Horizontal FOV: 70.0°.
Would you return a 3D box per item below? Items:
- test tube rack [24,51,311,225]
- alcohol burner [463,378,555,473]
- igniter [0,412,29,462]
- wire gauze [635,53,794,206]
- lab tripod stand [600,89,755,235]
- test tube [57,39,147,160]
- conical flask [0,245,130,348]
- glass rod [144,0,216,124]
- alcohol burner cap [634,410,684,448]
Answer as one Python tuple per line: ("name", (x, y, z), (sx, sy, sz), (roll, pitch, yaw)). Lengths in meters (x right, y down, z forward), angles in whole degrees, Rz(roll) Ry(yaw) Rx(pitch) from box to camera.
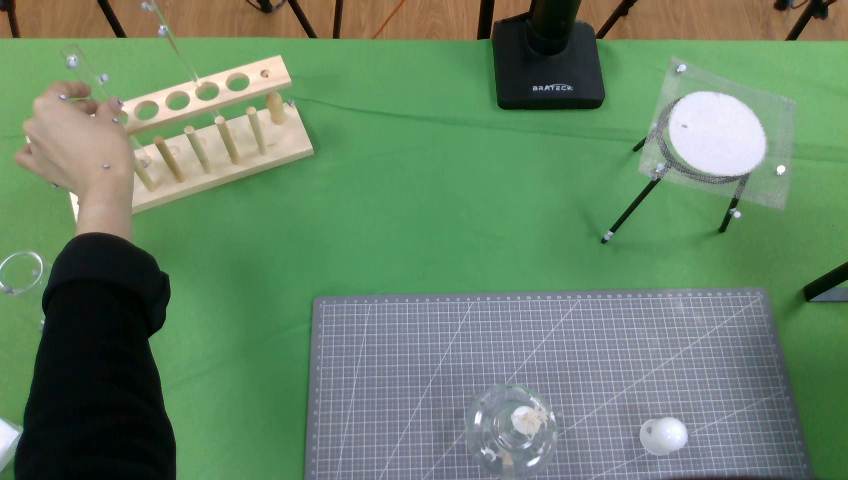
("test tube rack", (-0.243, -0.100, 0.602), (0.242, 0.086, 0.066), (-21, 69, -11))
("alcohol burner", (0.072, 0.148, 0.494), (0.078, 0.120, 0.077), (2, 66, -3))
("igniter", (-0.397, 0.249, 0.431), (0.057, 0.025, 0.275), (26, 67, 19))
("wire gauze", (0.255, -0.097, 0.522), (0.121, 0.011, 0.124), (19, 69, 4))
("lab tripod stand", (0.245, -0.069, 0.583), (0.148, 0.132, 0.147), (2, 66, -3))
("test tube", (-0.289, -0.122, 0.555), (0.017, 0.151, 0.017), (0, 61, 0))
("conical flask", (-0.313, 0.044, 0.519), (0.075, 0.122, 0.075), (1, 66, -1))
("glass rod", (-0.219, -0.159, 0.555), (0.008, 0.201, 0.008), (-2, 61, 4))
("alcohol burner cap", (0.209, 0.164, 0.531), (0.034, 0.048, 0.033), (1, 67, -2))
